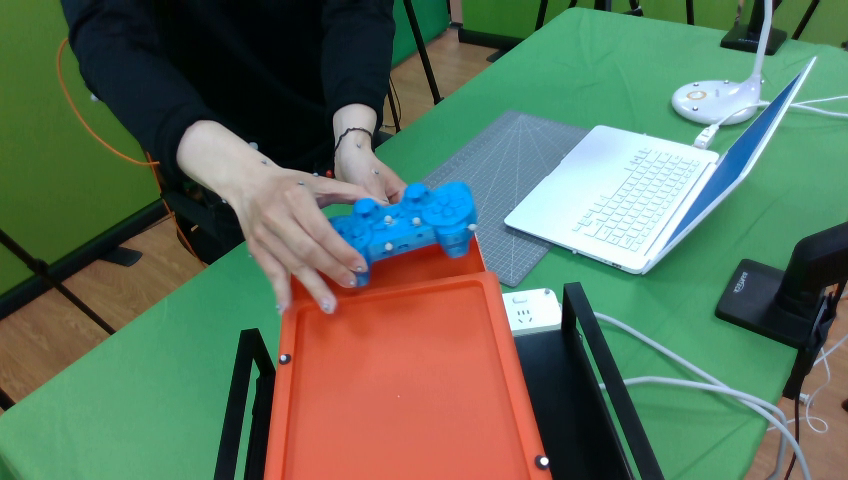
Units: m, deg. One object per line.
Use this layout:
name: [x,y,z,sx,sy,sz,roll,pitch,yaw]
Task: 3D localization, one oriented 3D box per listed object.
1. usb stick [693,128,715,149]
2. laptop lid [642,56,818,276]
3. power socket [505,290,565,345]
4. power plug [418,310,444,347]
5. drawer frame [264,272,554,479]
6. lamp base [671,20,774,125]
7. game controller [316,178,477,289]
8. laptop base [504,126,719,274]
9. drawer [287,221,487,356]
usb stick: [0.501,-0.176,1.091,0.021,0.027,0.059,30,55,28]
laptop lid: [0.445,-0.108,0.876,0.013,0.241,0.357,39,53,12]
power socket: [0.081,0.112,0.822,0.227,0.033,0.072,-6,40,0]
power plug: [0.007,0.123,0.784,0.035,0.053,0.072,-1,43,9]
drawer frame: [-0.017,0.134,0.494,0.202,0.083,0.212,-8,41,-2]
lamp base: [0.581,-0.332,1.154,0.179,0.181,0.160,2,41,7]
game controller: [-0.026,-0.016,0.555,0.155,0.052,0.096,-17,47,0]
laptop base: [0.325,-0.084,1.028,0.233,0.023,0.355,21,48,32]
drawer: [-0.032,0.061,0.584,0.195,0.073,0.210,-9,42,-3]
